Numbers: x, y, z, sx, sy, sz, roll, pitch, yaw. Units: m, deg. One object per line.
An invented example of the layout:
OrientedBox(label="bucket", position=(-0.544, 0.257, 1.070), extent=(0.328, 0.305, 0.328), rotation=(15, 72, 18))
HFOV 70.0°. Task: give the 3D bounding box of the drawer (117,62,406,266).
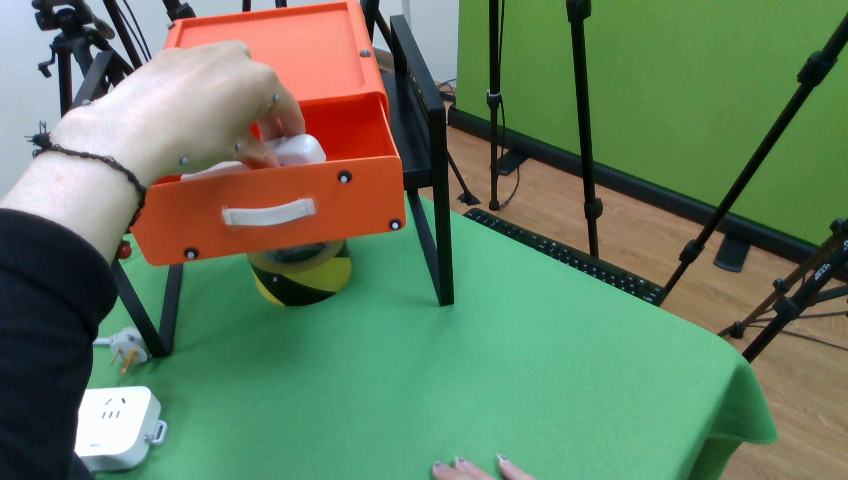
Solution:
OrientedBox(label="drawer", position=(-0.127, -0.083, 0.511), extent=(0.195, 0.074, 0.209), rotation=(-9, 41, -5))

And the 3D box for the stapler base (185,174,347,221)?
OrientedBox(label="stapler base", position=(-0.129, -0.039, 0.487), extent=(0.130, 0.025, 0.041), rotation=(-3, 40, 8))

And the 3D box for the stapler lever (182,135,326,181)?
OrientedBox(label="stapler lever", position=(-0.134, -0.057, 0.470), extent=(0.118, 0.040, 0.026), rotation=(-3, 40, 8))

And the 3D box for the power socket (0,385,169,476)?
OrientedBox(label="power socket", position=(-0.349, 0.172, 0.545), extent=(0.227, 0.033, 0.071), rotation=(-4, 41, 1))

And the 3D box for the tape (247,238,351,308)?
OrientedBox(label="tape", position=(-0.140, 0.017, 0.691), extent=(0.117, 0.053, 0.115), rotation=(-1, 43, 1))

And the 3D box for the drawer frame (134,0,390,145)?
OrientedBox(label="drawer frame", position=(-0.145, -0.144, 0.578), extent=(0.202, 0.083, 0.211), rotation=(-10, 41, -6))

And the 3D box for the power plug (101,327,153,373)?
OrientedBox(label="power plug", position=(-0.307, 0.118, 0.617), extent=(0.072, 0.035, 0.052), rotation=(-31, 28, 26))

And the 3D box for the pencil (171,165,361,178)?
OrientedBox(label="pencil", position=(-0.139, -0.058, 0.512), extent=(0.193, 0.012, 0.012), rotation=(2, 41, 23))
